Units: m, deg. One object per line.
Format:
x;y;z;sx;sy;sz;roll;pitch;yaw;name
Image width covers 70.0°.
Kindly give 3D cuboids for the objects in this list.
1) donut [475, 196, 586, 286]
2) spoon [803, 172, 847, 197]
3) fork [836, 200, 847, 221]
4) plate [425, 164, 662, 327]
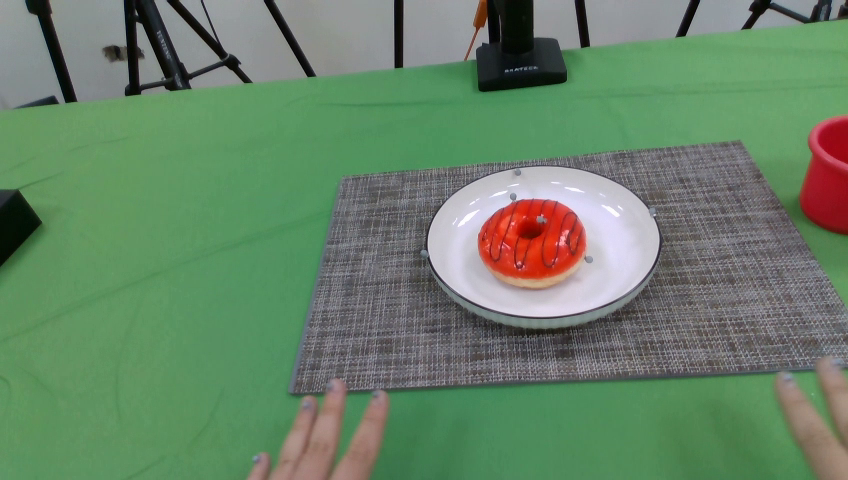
0.096;0.000;0.547;0.099;0.049;0.098;-6;45;7;donut
0.401;-0.061;0.498;0.041;0.193;0.021;-33;91;-15;spoon
0.430;-0.106;0.532;0.019;0.207;0.028;24;9;-16;fork
0.106;0.004;0.557;0.209;0.038;0.207;-5;42;5;plate
